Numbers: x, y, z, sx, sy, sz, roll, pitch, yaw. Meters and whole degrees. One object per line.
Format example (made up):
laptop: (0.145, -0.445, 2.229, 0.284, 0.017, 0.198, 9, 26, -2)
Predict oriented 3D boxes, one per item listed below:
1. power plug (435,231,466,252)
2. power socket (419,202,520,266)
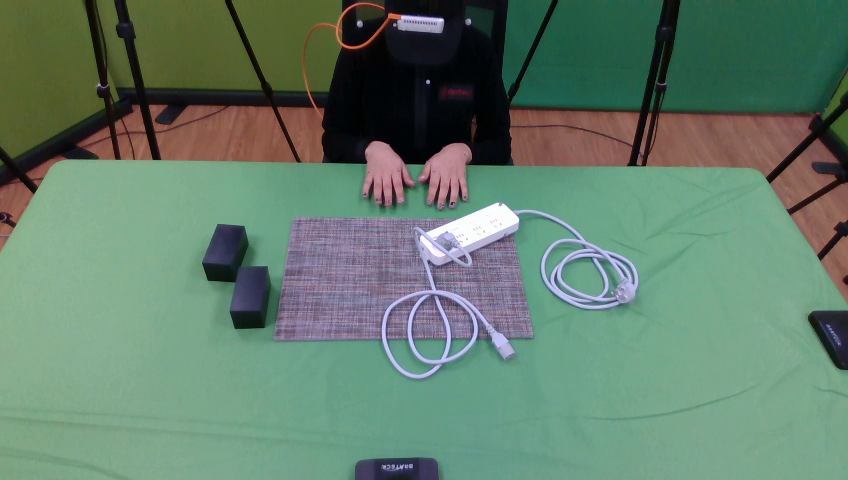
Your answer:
power plug: (0.047, 0.015, 1.141, 0.035, 0.053, 0.072, -14, 48, -17)
power socket: (0.093, -0.014, 1.204, 0.227, 0.033, 0.072, -23, 52, -24)
